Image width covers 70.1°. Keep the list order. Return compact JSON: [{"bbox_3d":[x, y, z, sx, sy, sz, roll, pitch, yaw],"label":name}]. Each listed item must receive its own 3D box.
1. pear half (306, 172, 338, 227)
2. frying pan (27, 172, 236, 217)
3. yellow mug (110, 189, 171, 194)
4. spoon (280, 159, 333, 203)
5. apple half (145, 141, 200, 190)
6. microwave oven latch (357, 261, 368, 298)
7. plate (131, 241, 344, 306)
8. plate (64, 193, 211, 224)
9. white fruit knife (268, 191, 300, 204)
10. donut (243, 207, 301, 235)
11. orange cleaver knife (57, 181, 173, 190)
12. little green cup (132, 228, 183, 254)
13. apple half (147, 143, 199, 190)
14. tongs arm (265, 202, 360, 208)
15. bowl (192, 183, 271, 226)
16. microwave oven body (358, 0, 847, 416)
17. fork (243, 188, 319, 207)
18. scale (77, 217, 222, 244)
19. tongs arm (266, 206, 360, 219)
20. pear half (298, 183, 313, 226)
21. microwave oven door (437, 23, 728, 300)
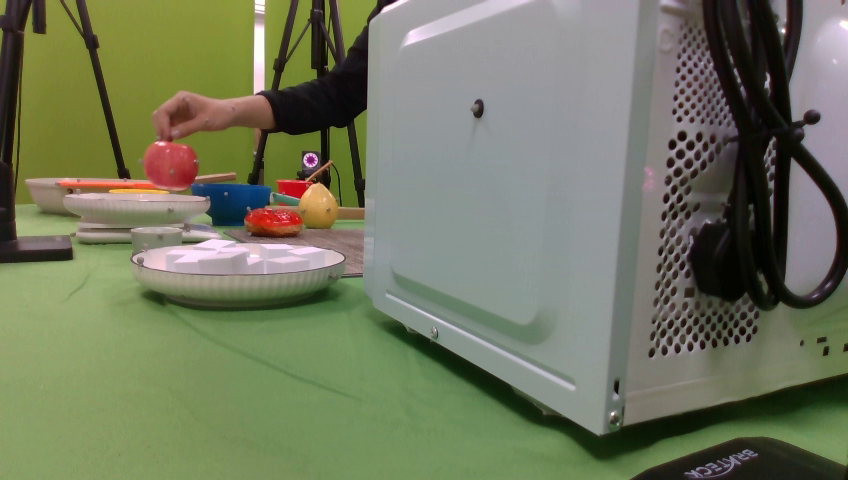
[{"bbox_3d":[-0.200,-0.079,1.203,0.056,0.110,0.076,3,12,1],"label":"pear half"},{"bbox_3d":[-0.624,-0.118,1.387,0.305,0.102,0.490,8,17,32],"label":"frying pan"},{"bbox_3d":[-0.519,-0.055,1.080,0.099,0.064,0.131,7,9,26],"label":"yellow mug"},{"bbox_3d":[-0.316,-0.159,1.640,0.194,0.022,0.041,-49,32,-20],"label":"spoon"},{"bbox_3d":[-0.394,-0.118,0.945,0.081,0.074,0.053,8,0,-19],"label":"apple half"},{"bbox_3d":[-0.019,0.033,0.530,0.079,0.029,0.030,-1,7,-26],"label":"microwave oven latch"},{"bbox_3d":[-0.187,0.033,0.625,0.208,0.039,0.207,2,7,0],"label":"plate"},{"bbox_3d":[-0.446,-0.050,0.951,0.209,0.038,0.209,2,7,0],"label":"plate"},{"bbox_3d":[-0.364,-0.105,1.464,0.208,0.027,0.016,15,0,-34],"label":"white fruit knife"},{"bbox_3d":[-0.262,-0.032,1.043,0.099,0.048,0.099,4,9,0],"label":"donut"},{"bbox_3d":[-0.600,-0.109,1.189,0.212,0.012,0.077,-1,11,-26],"label":"orange cleaver knife"},{"bbox_3d":[-0.342,0.006,0.779,0.061,0.038,0.061,3,8,0],"label":"little green cup"},{"bbox_3d":[-0.407,-0.119,0.982,0.081,0.081,0.032,0,2,-19],"label":"apple half"},{"bbox_3d":[-0.212,-0.070,1.440,0.389,0.027,0.028,2,1,-17],"label":"tongs arm"},{"bbox_3d":[-0.382,-0.070,1.202,0.151,0.077,0.151,3,7,0],"label":"bowl"},{"bbox_3d":[0.211,-0.047,0.474,0.444,0.260,0.324,-1,7,-28],"label":"microwave oven body"},{"bbox_3d":[-0.356,-0.105,1.526,0.208,0.018,0.028,16,-5,-41],"label":"fork"},{"bbox_3d":[-0.434,-0.018,0.963,0.202,0.031,0.148,-1,8,-27],"label":"scale"},{"bbox_3d":[-0.174,-0.060,1.363,0.387,0.026,0.050,0,5,-32],"label":"tongs arm"},{"bbox_3d":[-0.235,-0.071,1.207,0.031,0.088,0.070,3,10,0],"label":"pear half"},{"bbox_3d":[0.180,-0.072,0.621,0.358,0.243,0.039,-2,9,-29],"label":"microwave oven door"}]
